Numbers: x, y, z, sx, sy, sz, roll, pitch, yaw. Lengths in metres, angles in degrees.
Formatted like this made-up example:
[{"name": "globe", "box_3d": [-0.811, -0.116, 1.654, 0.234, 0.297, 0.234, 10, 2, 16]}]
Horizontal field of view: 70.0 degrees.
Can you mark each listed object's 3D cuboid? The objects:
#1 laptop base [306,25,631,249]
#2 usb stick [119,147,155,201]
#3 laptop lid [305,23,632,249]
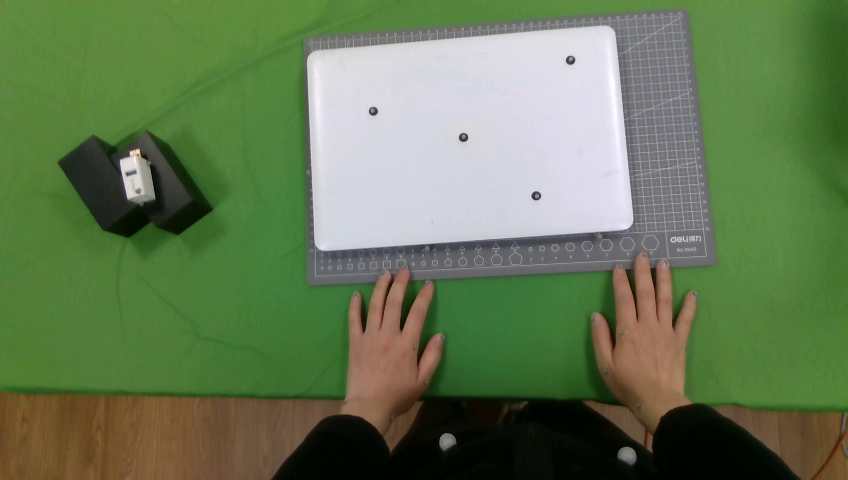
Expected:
[{"name": "laptop base", "box_3d": [0.044, -0.117, 0.689, 0.354, 0.023, 0.235, -4, 84, 3]}, {"name": "usb stick", "box_3d": [-0.310, -0.074, 0.652, 0.021, 0.027, 0.059, -15, 79, 3]}, {"name": "laptop lid", "box_3d": [0.044, -0.117, 0.676, 0.356, 0.013, 0.241, -3, 83, 4]}]
